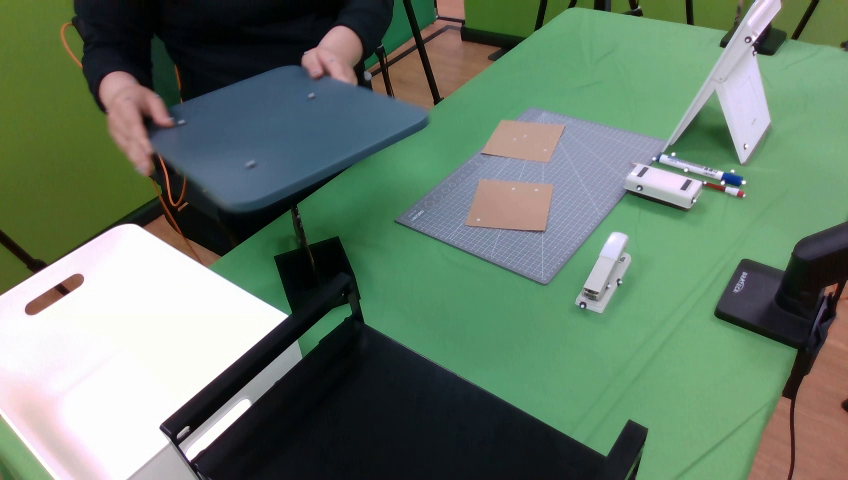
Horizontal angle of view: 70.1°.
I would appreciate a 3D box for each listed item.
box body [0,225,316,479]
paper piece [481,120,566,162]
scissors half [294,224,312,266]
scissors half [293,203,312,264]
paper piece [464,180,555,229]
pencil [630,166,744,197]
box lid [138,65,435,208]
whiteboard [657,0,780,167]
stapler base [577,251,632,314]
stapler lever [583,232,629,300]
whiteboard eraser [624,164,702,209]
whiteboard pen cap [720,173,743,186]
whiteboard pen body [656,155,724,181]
[{"bbox_3d":[-0.339,0.162,0.728,0.361,0.161,0.255,23,48,31],"label":"box body"},{"bbox_3d":[0.197,-0.199,1.188,0.135,0.004,0.135,11,44,21],"label":"paper piece"},{"bbox_3d":[-0.189,0.007,0.955,0.013,0.040,0.174,-13,21,-13],"label":"scissors half"},{"bbox_3d":[-0.189,-0.010,0.946,0.013,0.040,0.174,-8,36,-17],"label":"scissors half"},{"bbox_3d":[0.149,-0.062,1.035,0.137,0.009,0.136,5,38,16],"label":"paper piece"},{"bbox_3d":[0.447,-0.103,1.038,0.192,0.012,0.012,21,48,30],"label":"pencil"},{"bbox_3d":[-0.187,-0.150,0.769,0.264,0.015,0.368,-32,39,-28],"label":"box lid"},{"bbox_3d":[0.571,-0.272,1.038,0.143,0.306,0.218,37,54,17],"label":"whiteboard"},{"bbox_3d":[0.264,0.051,0.875,0.041,0.024,0.131,16,47,30],"label":"stapler base"},{"bbox_3d":[0.260,0.034,0.858,0.026,0.040,0.118,16,46,30],"label":"stapler lever"},{"bbox_3d":[0.396,-0.087,1.003,0.112,0.042,0.056,22,47,31],"label":"whiteboard eraser"},{"bbox_3d":[0.519,-0.103,1.020,0.033,0.018,0.018,23,49,30],"label":"whiteboard pen cap"},{"bbox_3d":[0.475,-0.123,1.052,0.139,0.017,0.017,24,49,32],"label":"whiteboard pen body"}]
